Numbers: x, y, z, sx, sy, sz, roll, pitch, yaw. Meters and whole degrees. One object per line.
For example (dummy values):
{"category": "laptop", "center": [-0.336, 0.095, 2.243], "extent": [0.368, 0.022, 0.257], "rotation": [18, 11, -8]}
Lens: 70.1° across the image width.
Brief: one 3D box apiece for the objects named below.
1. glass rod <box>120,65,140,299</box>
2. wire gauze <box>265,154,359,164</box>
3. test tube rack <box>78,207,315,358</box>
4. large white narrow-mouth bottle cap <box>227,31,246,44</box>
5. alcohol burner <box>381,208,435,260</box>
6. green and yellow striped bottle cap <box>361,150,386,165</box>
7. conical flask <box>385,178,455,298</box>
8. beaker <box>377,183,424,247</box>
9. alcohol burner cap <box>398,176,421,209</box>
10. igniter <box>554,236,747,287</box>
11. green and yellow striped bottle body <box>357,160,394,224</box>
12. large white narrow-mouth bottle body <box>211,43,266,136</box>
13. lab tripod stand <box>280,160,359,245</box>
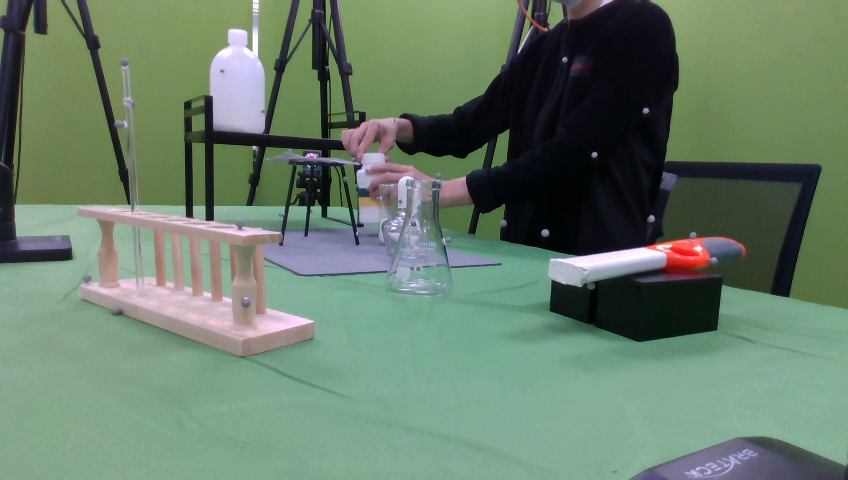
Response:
{"category": "glass rod", "center": [-0.249, -0.047, 0.513], "extent": [0.008, 0.199, 0.008], "rotation": [-1, 4, 0]}
{"category": "wire gauze", "center": [-0.181, -0.129, 0.969], "extent": [0.126, 0.011, 0.121], "rotation": [-1, 7, -27]}
{"category": "test tube rack", "center": [-0.196, 0.023, 0.500], "extent": [0.241, 0.085, 0.067], "rotation": [8, 9, 37]}
{"category": "large white narrow-mouth bottle cap", "center": [-0.361, -0.388, 1.166], "extent": [0.038, 0.024, 0.037], "rotation": [1, 7, 0]}
{"category": "alcohol burner", "center": [-0.023, -0.032, 0.872], "extent": [0.078, 0.119, 0.078], "rotation": [0, 6, 0]}
{"category": "green and yellow striped bottle cap", "center": [-0.092, -0.147, 1.091], "extent": [0.045, 0.020, 0.045], "rotation": [-9, -8, -1]}
{"category": "conical flask", "center": [-0.002, -0.004, 0.639], "extent": [0.075, 0.122, 0.075], "rotation": [2, 7, 0]}
{"category": "beaker", "center": [-0.038, -0.041, 0.995], "extent": [0.074, 0.100, 0.083], "rotation": [-5, 11, -44]}
{"category": "alcohol burner cap", "center": [-0.023, -0.068, 0.866], "extent": [0.034, 0.048, 0.034], "rotation": [-5, 8, 1]}
{"category": "igniter", "center": [0.221, 0.017, 0.558], "extent": [0.278, 0.025, 0.057], "rotation": [-5, 15, -39]}
{"category": "green and yellow striped bottle body", "center": [-0.089, -0.092, 1.099], "extent": [0.063, 0.119, 0.063], "rotation": [-3, 7, 1]}
{"category": "large white narrow-mouth bottle body", "center": [-0.361, -0.302, 1.176], "extent": [0.102, 0.194, 0.102], "rotation": [1, 7, 0]}
{"category": "lab tripod stand", "center": [-0.176, -0.062, 0.973], "extent": [0.148, 0.131, 0.148], "rotation": [1, 7, 0]}
